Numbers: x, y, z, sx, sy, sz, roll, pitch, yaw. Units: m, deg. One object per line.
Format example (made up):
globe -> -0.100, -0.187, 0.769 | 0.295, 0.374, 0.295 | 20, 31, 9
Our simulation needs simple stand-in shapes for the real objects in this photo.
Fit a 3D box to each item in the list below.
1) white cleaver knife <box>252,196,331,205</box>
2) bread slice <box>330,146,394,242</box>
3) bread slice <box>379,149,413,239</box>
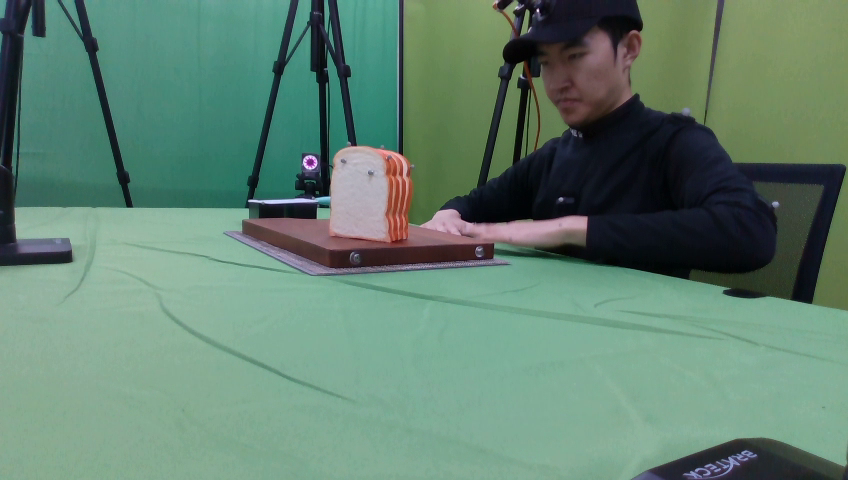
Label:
white cleaver knife -> -0.257, -0.087, 1.307 | 0.065, 0.021, 0.288 | 7, 7, 30
bread slice -> -0.090, -0.066, 0.859 | 0.106, 0.134, 0.018 | 3, 10, 29
bread slice -> -0.063, -0.070, 0.903 | 0.104, 0.131, 0.019 | 8, 4, 27
